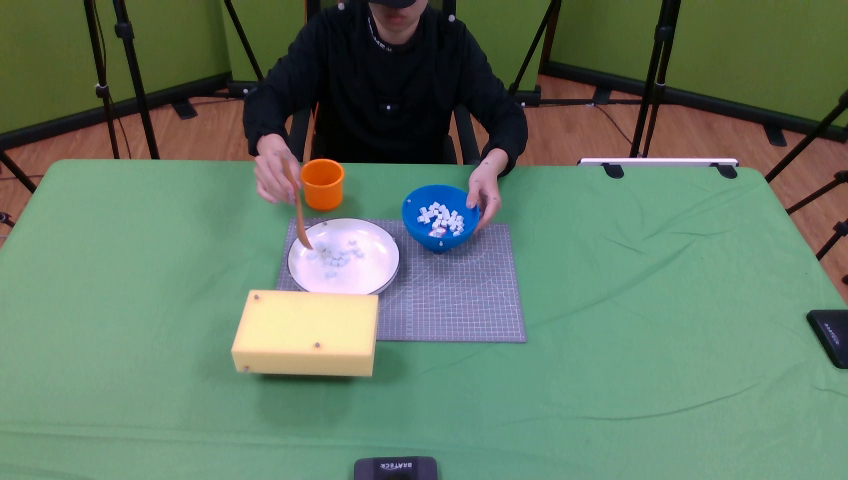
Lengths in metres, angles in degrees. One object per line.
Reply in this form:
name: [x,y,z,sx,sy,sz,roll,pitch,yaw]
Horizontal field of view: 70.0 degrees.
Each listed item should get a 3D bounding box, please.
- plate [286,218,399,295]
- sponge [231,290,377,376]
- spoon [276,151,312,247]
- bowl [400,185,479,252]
plate: [-0.150,0.041,1.131,0.209,0.038,0.208,2,46,-2]
sponge: [-0.180,0.144,0.949,0.207,0.061,0.117,2,46,-2]
spoon: [-0.225,-0.067,1.052,0.021,0.194,0.041,-23,34,-25]
bowl: [0.028,-0.030,1.173,0.151,0.077,0.150,3,46,-3]
